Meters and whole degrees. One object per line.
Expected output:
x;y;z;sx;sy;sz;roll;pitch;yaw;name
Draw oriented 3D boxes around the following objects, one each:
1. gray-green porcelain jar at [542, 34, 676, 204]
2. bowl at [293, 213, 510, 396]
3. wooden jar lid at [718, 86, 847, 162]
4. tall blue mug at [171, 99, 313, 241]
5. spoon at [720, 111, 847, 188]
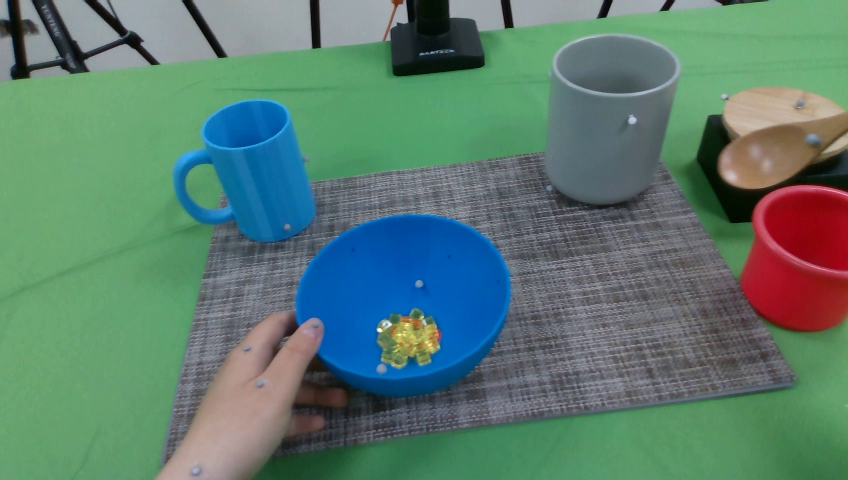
0.163;-0.105;0.556;0.106;0.128;0.105;-3;45;3;gray-green porcelain jar
-0.013;0.058;0.445;0.151;0.077;0.150;-3;45;3;bowl
0.322;-0.103;0.547;0.108;0.021;0.107;-4;45;4;wooden jar lid
-0.161;-0.054;0.550;0.077;0.109;0.107;29;55;29;tall blue mug
0.255;-0.073;0.326;0.022;0.193;0.041;16;65;-28;spoon
